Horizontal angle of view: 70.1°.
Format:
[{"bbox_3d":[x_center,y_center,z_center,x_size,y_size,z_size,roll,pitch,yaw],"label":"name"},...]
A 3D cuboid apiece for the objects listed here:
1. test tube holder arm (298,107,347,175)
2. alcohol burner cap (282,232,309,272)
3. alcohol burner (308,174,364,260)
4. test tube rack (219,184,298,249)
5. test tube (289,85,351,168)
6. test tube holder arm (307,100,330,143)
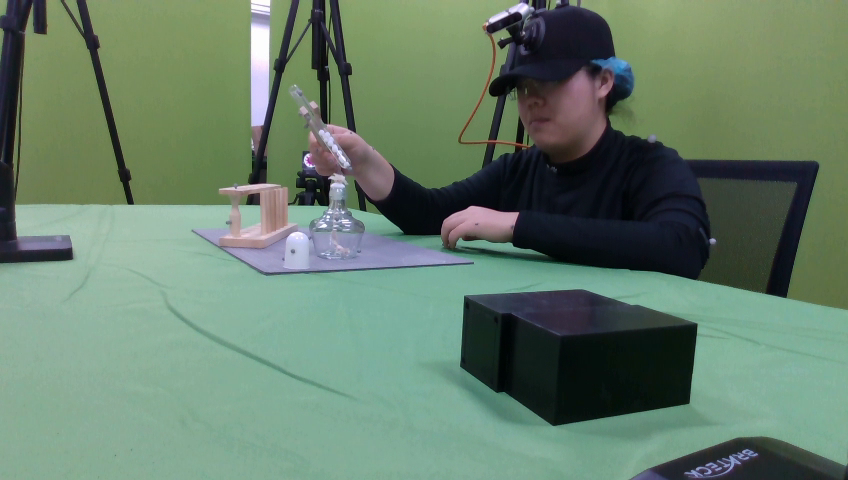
[{"bbox_3d":[-0.149,-0.145,0.910,0.015,0.013,0.179,47,-7,23],"label":"test tube holder arm"},{"bbox_3d":[-0.157,0.014,0.740,0.034,0.048,0.034,3,6,0],"label":"alcohol burner cap"},{"bbox_3d":[-0.121,-0.033,0.841,0.078,0.119,0.078,3,5,0],"label":"alcohol burner"},{"bbox_3d":[-0.266,-0.045,1.001,0.067,0.085,0.242,3,7,0],"label":"test tube rack"},{"bbox_3d":[-0.146,-0.158,0.843,0.017,0.150,0.017,-33,-16,-10],"label":"test tube"},{"bbox_3d":[-0.151,-0.167,0.870,0.010,0.015,0.088,-37,-24,-15],"label":"test tube holder arm"}]
